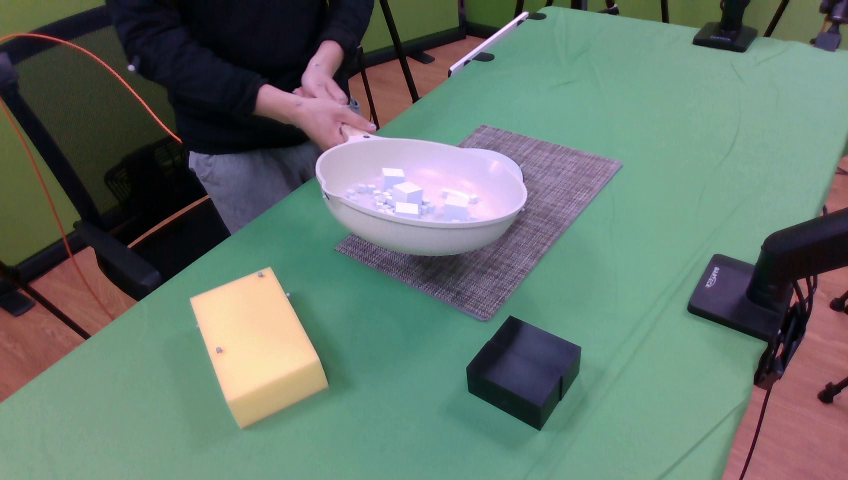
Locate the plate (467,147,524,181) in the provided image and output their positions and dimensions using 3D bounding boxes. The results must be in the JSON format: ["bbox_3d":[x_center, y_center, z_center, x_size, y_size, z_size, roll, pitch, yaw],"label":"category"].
[{"bbox_3d":[0.069,-0.089,1.044,0.207,0.039,0.206,-4,40,4],"label":"plate"}]

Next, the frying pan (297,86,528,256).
[{"bbox_3d":[-0.065,-0.124,0.903,0.309,0.103,0.483,-13,44,-37],"label":"frying pan"}]

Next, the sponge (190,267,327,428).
[{"bbox_3d":[-0.226,0.135,0.814,0.119,0.061,0.205,-23,43,-19],"label":"sponge"}]
